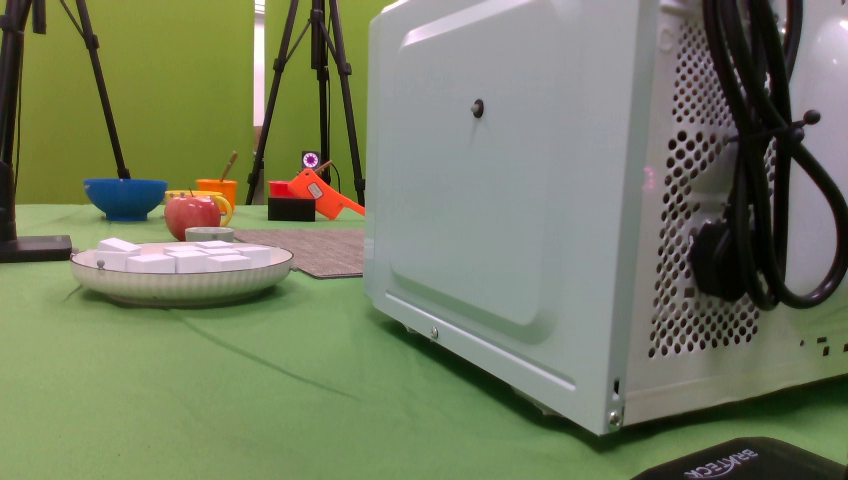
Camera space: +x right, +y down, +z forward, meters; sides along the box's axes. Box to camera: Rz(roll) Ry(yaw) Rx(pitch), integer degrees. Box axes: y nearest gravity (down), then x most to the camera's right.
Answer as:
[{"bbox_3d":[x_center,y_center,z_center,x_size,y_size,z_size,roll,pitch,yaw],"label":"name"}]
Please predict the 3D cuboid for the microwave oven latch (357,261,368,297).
[{"bbox_3d":[-0.019,0.033,0.531,0.079,0.029,0.030,-1,7,-28],"label":"microwave oven latch"}]

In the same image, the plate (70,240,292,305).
[{"bbox_3d":[-0.242,0.031,0.618,0.208,0.039,0.207,2,8,0],"label":"plate"}]

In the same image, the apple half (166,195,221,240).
[{"bbox_3d":[-0.351,-0.031,0.935,0.081,0.074,0.053,1,11,-40],"label":"apple half"}]

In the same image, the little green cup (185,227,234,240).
[{"bbox_3d":[-0.285,0.005,0.805,0.061,0.038,0.061,2,8,0],"label":"little green cup"}]

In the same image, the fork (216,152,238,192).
[{"bbox_3d":[-0.455,-0.132,1.367,0.028,0.018,0.207,-2,-35,-37],"label":"fork"}]

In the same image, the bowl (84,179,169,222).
[{"bbox_3d":[-0.584,-0.078,1.194,0.151,0.077,0.151,3,8,0],"label":"bowl"}]

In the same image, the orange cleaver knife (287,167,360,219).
[{"bbox_3d":[-0.209,-0.089,1.383,0.212,0.077,0.012,31,3,-15],"label":"orange cleaver knife"}]

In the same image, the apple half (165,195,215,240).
[{"bbox_3d":[-0.377,-0.038,0.964,0.082,0.081,0.032,-4,14,-39],"label":"apple half"}]

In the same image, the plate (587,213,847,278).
[{"bbox_3d":[0.244,0.002,0.512,0.209,0.038,0.209,2,6,0],"label":"plate"}]

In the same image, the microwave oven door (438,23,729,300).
[{"bbox_3d":[0.181,-0.072,0.620,0.358,0.243,0.039,-2,8,-29],"label":"microwave oven door"}]

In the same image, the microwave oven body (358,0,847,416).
[{"bbox_3d":[0.211,-0.047,0.474,0.444,0.260,0.324,-1,7,-28],"label":"microwave oven body"}]

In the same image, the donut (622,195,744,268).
[{"bbox_3d":[0.220,-0.006,0.518,0.099,0.048,0.099,23,0,0],"label":"donut"}]

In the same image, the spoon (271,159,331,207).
[{"bbox_3d":[-0.308,-0.142,1.514,0.193,0.021,0.041,-42,-2,8],"label":"spoon"}]

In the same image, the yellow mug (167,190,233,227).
[{"bbox_3d":[-0.415,-0.057,1.132,0.130,0.064,0.100,6,8,16],"label":"yellow mug"}]
